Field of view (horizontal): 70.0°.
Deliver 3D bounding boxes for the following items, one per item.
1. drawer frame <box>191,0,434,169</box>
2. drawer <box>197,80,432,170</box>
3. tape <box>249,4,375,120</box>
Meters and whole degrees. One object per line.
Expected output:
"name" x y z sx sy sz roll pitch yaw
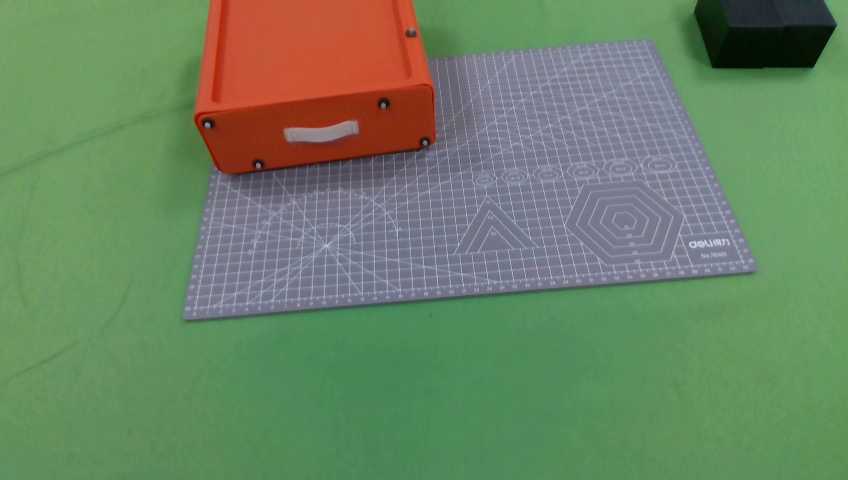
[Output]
"drawer frame" -0.105 -0.178 0.585 0.202 0.083 0.211 -9 53 -3
"drawer" -0.103 -0.175 0.584 0.194 0.074 0.209 -9 54 -2
"tape" -0.107 -0.175 0.592 0.117 0.053 0.115 -1 55 2
